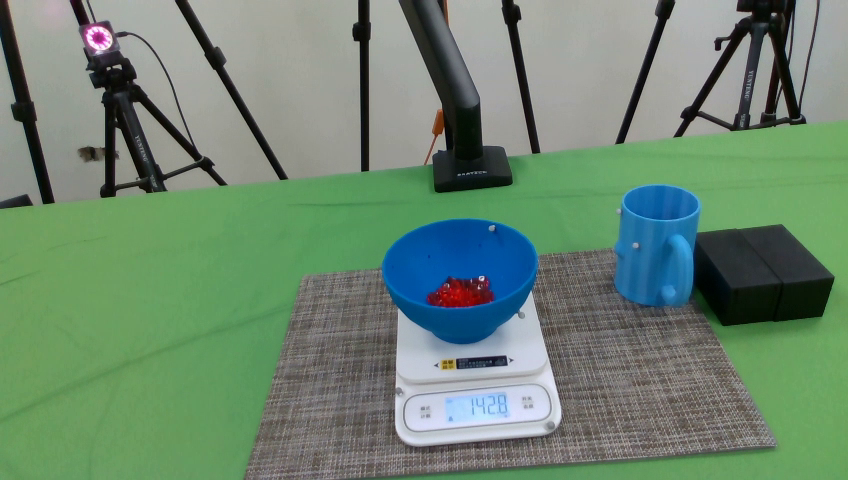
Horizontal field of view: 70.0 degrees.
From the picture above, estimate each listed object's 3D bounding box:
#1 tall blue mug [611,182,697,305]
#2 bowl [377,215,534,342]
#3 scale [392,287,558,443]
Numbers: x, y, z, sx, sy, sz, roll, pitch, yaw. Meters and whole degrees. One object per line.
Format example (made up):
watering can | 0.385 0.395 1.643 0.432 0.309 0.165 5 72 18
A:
tall blue mug | 0.252 0.009 0.640 0.078 0.109 0.106 -24 37 -24
bowl | 0.033 0.047 0.598 0.151 0.077 0.150 -4 34 3
scale | 0.043 0.108 0.602 0.148 0.032 0.199 -6 34 2
